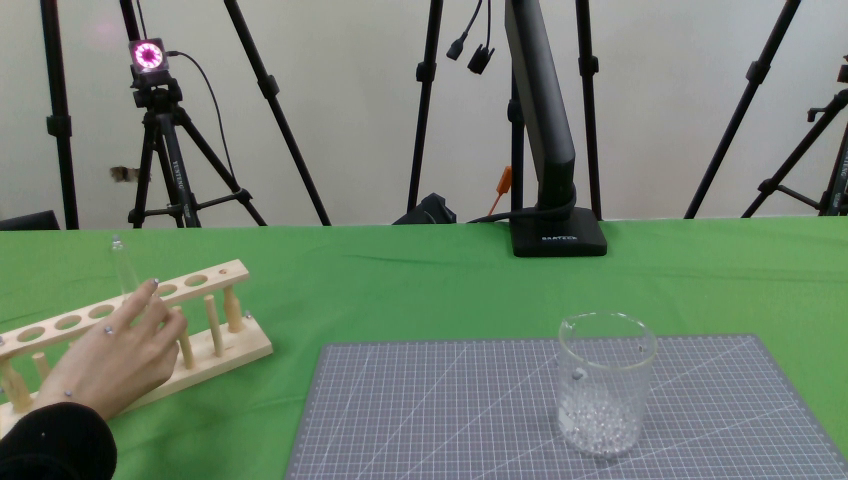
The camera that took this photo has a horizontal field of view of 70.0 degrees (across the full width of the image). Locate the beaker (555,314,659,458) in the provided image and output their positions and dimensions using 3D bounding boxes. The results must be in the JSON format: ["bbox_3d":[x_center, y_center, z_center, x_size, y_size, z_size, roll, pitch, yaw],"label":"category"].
[{"bbox_3d":[0.144,0.120,0.500,0.074,0.101,0.083,-22,34,-31],"label":"beaker"}]

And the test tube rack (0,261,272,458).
[{"bbox_3d":[-0.279,0.105,0.582,0.243,0.086,0.066,-19,33,-27],"label":"test tube rack"}]

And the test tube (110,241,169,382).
[{"bbox_3d":[-0.258,0.069,0.553,0.017,0.151,0.017,-2,28,1],"label":"test tube"}]
